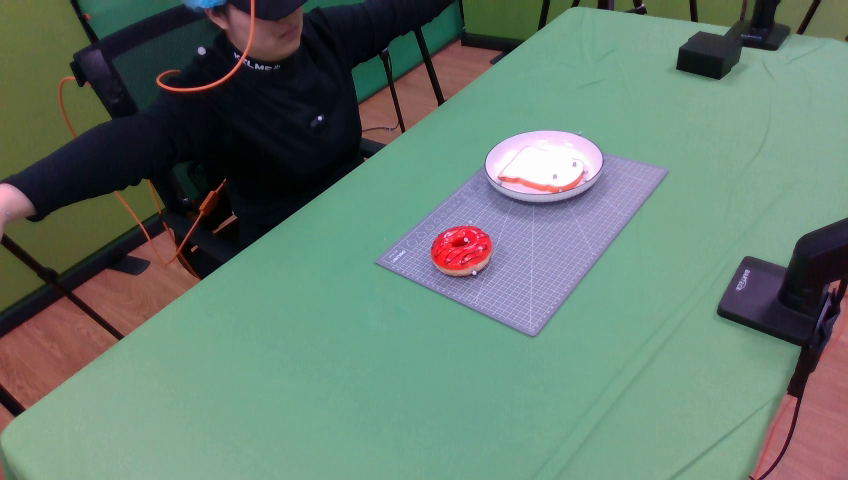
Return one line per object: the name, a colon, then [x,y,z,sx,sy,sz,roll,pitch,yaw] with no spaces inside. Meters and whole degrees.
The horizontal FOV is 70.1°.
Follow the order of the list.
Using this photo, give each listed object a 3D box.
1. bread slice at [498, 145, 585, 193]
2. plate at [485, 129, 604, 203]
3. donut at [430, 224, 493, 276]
bread slice: [0.215,-0.125,1.076,0.133,0.018,0.107,16,48,28]
plate: [0.213,-0.129,1.079,0.209,0.038,0.208,-5,40,5]
donut: [0.057,0.014,0.934,0.099,0.048,0.098,-7,40,6]
